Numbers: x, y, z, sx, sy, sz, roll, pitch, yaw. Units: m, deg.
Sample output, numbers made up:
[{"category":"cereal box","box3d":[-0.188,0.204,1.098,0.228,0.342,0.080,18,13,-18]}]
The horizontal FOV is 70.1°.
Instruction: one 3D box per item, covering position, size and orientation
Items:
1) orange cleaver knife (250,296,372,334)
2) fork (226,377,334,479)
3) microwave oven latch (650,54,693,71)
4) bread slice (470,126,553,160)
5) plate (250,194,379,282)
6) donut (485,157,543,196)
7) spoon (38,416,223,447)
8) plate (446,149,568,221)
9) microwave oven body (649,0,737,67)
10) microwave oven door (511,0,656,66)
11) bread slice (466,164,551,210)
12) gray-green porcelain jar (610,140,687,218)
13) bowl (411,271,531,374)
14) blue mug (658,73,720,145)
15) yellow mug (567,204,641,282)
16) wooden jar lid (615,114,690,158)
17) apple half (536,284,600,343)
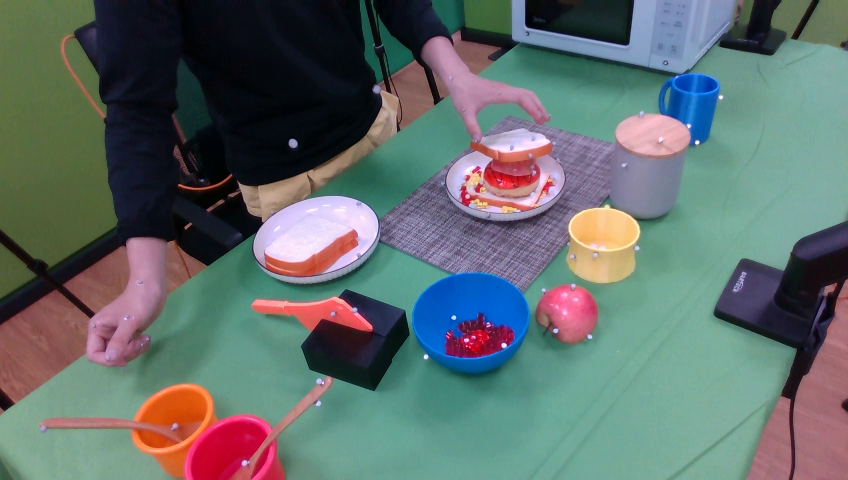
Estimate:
[{"category":"orange cleaver knife","box3d":[-0.158,0.103,0.828,0.210,0.078,0.012,-4,43,39]},{"category":"fork","box3d":[-0.163,0.216,0.647,0.207,0.019,0.028,-49,41,16]},{"category":"microwave oven latch","box3d":[0.531,-0.386,1.301,0.078,0.029,0.030,26,51,33]},{"category":"bread slice","box3d":[0.147,-0.158,0.978,0.105,0.019,0.130,-15,25,-15]},{"category":"plate","box3d":[-0.174,-0.001,0.984,0.209,0.038,0.208,-4,40,3]},{"category":"donut","box3d":[0.151,-0.112,1.018,0.099,0.048,0.098,-4,40,4]},{"category":"spoon","box3d":[-0.320,0.209,0.677,0.021,0.195,0.041,-53,41,16]},{"category":"plate","box3d":[0.142,-0.097,1.045,0.207,0.039,0.206,-4,40,4]},{"category":"microwave oven body","box3d":[0.475,-0.602,1.411,0.438,0.261,0.327,23,50,32]},{"category":"microwave oven door","box3d":[0.350,-0.539,1.348,0.353,0.245,0.039,24,50,31]},{"category":"bread slice","box3d":[0.141,-0.093,1.042,0.133,0.018,0.107,9,43,20]},{"category":"gray-green porcelain jar","box3d":[0.354,-0.106,0.964,0.106,0.127,0.105,-4,41,4]},{"category":"bowl","box3d":[0.062,0.119,0.780,0.151,0.077,0.150,-4,40,4]},{"category":"blue mug","box3d":[0.483,-0.250,1.127,0.082,0.106,0.115,-26,44,-19]},{"category":"yellow mug","box3d":[0.268,-0.005,0.905,0.099,0.064,0.130,6,42,15]},{"category":"wooden jar lid","box3d":[0.347,-0.155,0.923,0.108,0.021,0.108,-3,44,4]},{"category":"apple half","box3d":[0.196,0.091,0.815,0.075,0.053,0.080,-22,42,-20]}]
